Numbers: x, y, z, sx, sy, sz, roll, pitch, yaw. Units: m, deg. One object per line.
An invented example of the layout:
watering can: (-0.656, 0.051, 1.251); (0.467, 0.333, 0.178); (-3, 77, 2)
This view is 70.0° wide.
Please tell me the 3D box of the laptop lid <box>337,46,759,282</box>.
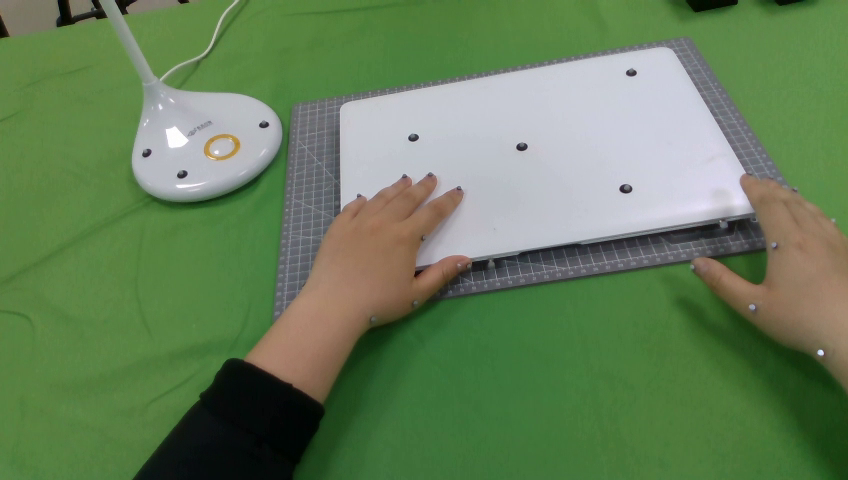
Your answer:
laptop lid: (0.091, -0.083, 0.566); (0.356, 0.013, 0.239); (-8, 52, 4)

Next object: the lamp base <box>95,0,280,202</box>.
lamp base: (-0.254, -0.153, 0.597); (0.178, 0.182, 0.160); (22, 57, 29)

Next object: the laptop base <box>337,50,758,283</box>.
laptop base: (0.093, -0.078, 0.577); (0.354, 0.023, 0.233); (-9, 53, 2)
